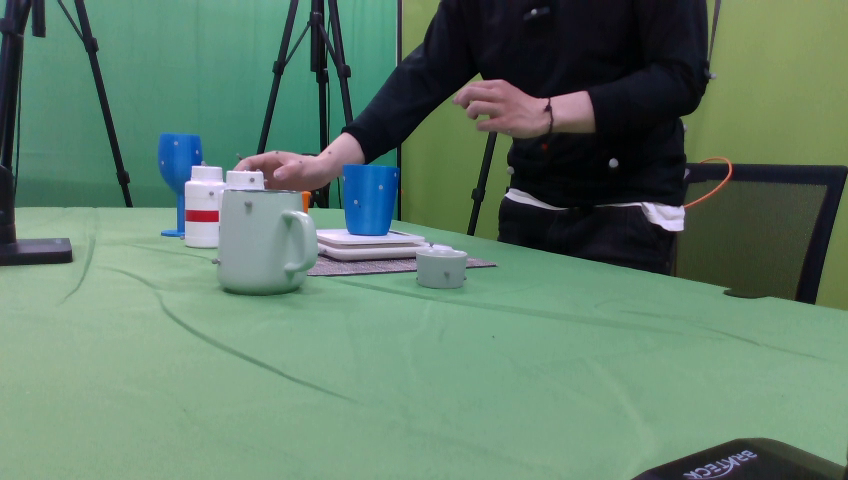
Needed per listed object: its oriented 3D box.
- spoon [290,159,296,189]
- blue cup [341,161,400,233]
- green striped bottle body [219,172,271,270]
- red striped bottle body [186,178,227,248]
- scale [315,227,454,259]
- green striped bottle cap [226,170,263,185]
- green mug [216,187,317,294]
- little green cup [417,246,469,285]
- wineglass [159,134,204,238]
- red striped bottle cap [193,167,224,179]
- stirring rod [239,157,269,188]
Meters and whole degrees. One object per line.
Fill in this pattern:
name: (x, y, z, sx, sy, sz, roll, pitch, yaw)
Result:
spoon: (-0.273, -0.102, 1.252, 0.042, 0.193, 0.021, 7, -38, -17)
blue cup: (-0.080, -0.062, 0.884, 0.093, 0.100, 0.092, 3, 5, 0)
green striped bottle body: (-0.223, -0.025, 0.755, 0.063, 0.119, 0.063, 2, 7, 0)
red striped bottle body: (-0.331, -0.050, 0.927, 0.063, 0.119, 0.063, 2, 6, 0)
scale: (-0.066, 0.001, 0.906, 0.202, 0.031, 0.148, -2, 8, -31)
green striped bottle cap: (-0.222, -0.076, 0.748, 0.044, 0.020, 0.044, 1, 7, 0)
green mug: (-0.157, 0.000, 0.629, 0.124, 0.105, 0.093, 7, 9, 37)
little green cup: (0.021, 0.029, 0.701, 0.061, 0.038, 0.061, 1, 6, 0)
wineglass: (-0.415, -0.093, 1.040, 0.074, 0.172, 0.073, 2, 7, 0)
red striped bottle cap: (-0.329, -0.103, 0.921, 0.044, 0.017, 0.044, 0, 9, 0)
stirring rod: (-0.309, -0.098, 1.209, 0.006, 0.177, 0.014, -38, 29, -3)
